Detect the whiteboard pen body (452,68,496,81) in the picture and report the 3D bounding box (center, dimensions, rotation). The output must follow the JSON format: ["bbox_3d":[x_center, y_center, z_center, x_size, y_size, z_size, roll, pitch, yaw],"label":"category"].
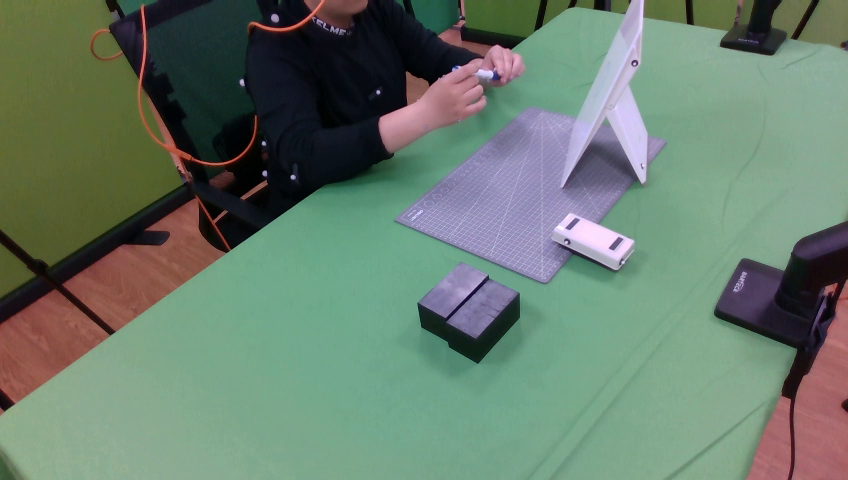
[{"bbox_3d":[0.099,-0.303,1.108,0.017,0.017,0.142,27,24,34],"label":"whiteboard pen body"}]

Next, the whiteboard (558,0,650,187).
[{"bbox_3d":[0.362,-0.238,1.026,0.144,0.306,0.217,21,45,4],"label":"whiteboard"}]

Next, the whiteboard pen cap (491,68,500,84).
[{"bbox_3d":[0.137,-0.313,1.158,0.018,0.033,0.018,-2,67,6],"label":"whiteboard pen cap"}]

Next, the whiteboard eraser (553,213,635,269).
[{"bbox_3d":[0.257,0.003,0.918,0.112,0.042,0.056,27,49,30],"label":"whiteboard eraser"}]
